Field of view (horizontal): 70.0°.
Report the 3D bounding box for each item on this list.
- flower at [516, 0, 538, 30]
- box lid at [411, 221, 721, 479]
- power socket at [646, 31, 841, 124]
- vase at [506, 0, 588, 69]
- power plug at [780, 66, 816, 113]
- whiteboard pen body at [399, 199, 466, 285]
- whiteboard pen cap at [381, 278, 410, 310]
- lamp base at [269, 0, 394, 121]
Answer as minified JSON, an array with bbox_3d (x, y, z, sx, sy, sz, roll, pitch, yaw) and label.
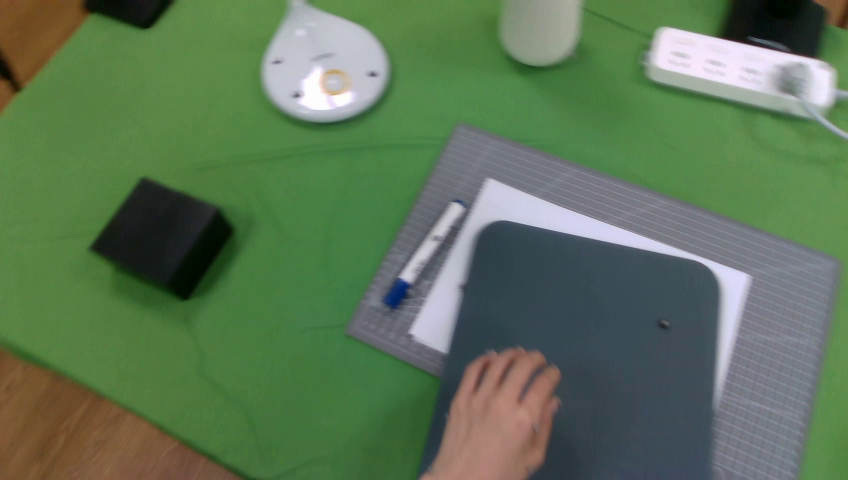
[{"bbox_3d":[0.158,-0.319,0.629,0.044,0.362,0.038,-16,81,-14],"label":"flower"},{"bbox_3d":[0.143,0.160,0.593,0.263,0.015,0.369,13,66,8],"label":"box lid"},{"bbox_3d":[0.391,-0.201,0.744,0.226,0.033,0.072,18,67,10],"label":"power socket"},{"bbox_3d":[0.149,-0.297,0.710,0.098,0.201,0.097,-2,63,3],"label":"vase"},{"bbox_3d":[0.426,-0.170,0.703,0.035,0.053,0.072,28,75,15],"label":"power plug"},{"bbox_3d":[0.003,0.011,0.662,0.017,0.017,0.140,31,71,17],"label":"whiteboard pen body"},{"bbox_3d":[-0.029,0.057,0.645,0.018,0.018,0.033,31,71,17],"label":"whiteboard pen cap"},{"bbox_3d":[-0.129,-0.262,0.716,0.161,0.182,0.177,-28,63,-11],"label":"lamp base"}]
